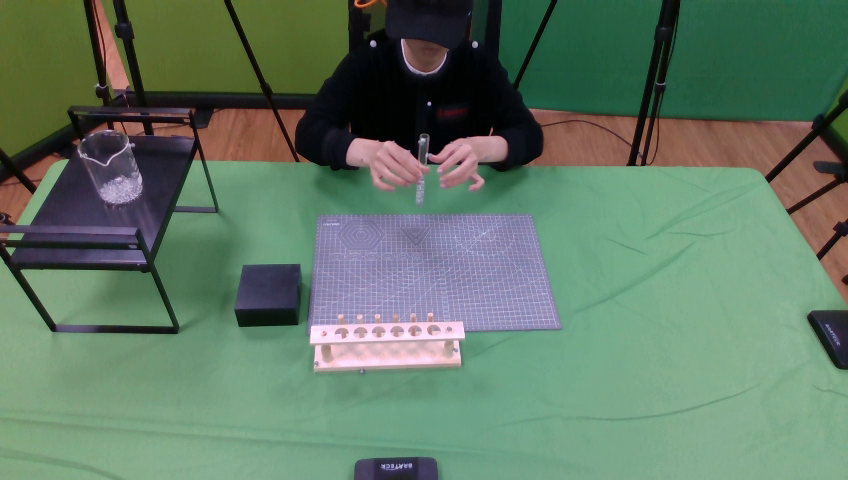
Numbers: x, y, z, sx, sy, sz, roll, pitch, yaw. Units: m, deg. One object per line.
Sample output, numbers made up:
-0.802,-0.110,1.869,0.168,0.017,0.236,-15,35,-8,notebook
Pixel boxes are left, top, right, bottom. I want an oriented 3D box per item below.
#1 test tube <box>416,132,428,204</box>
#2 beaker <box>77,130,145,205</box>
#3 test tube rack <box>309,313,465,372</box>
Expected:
-0.004,-0.122,1.053,0.017,0.151,0.017,2,45,-2,test tube
-0.493,-0.111,0.965,0.074,0.101,0.083,-14,49,-16,beaker
-0.059,0.161,0.990,0.242,0.085,0.066,-1,46,-5,test tube rack
